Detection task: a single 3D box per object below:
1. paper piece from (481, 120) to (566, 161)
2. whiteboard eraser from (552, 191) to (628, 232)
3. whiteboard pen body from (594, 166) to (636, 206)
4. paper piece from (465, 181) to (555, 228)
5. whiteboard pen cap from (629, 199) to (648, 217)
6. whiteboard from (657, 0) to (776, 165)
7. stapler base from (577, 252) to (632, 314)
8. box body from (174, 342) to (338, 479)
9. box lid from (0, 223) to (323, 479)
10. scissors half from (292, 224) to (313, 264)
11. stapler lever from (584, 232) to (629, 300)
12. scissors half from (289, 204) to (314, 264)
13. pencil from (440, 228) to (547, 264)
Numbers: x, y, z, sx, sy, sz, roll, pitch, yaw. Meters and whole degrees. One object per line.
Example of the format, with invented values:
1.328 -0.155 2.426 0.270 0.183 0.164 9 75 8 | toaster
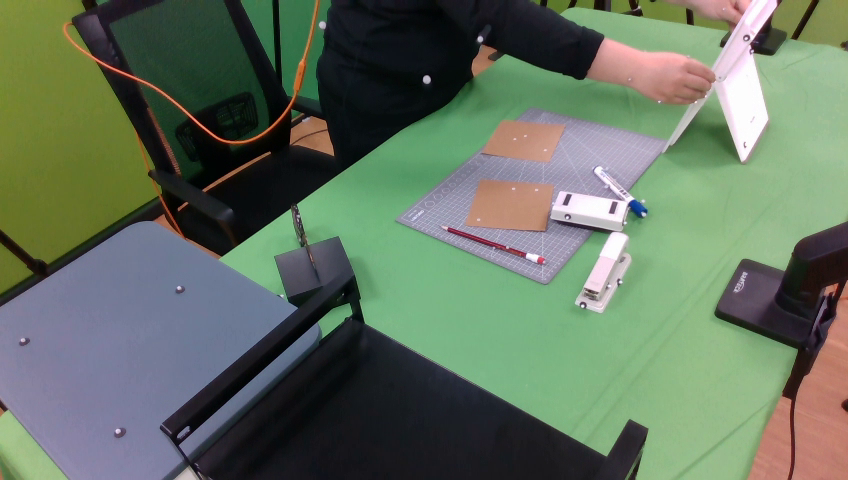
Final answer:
0.197 -0.199 1.188 0.135 0.004 0.135 11 43 21 | paper piece
0.266 -0.043 0.967 0.112 0.042 0.055 11 42 20 | whiteboard eraser
0.330 -0.086 1.027 0.017 0.017 0.139 -16 41 -10 | whiteboard pen body
0.149 -0.062 1.034 0.137 0.009 0.136 4 37 17 | paper piece
0.348 -0.052 0.983 0.018 0.018 0.033 -18 43 -12 | whiteboard pen cap
0.569 -0.276 1.041 0.143 0.306 0.218 35 53 17 | whiteboard
0.264 0.051 0.875 0.041 0.024 0.131 16 47 30 | stapler base
-0.311 0.165 0.720 0.361 0.161 0.255 23 48 32 | box body
-0.318 0.109 0.671 0.368 0.015 0.264 24 49 31 | box lid
-0.189 0.008 0.955 0.013 0.040 0.174 -18 21 -14 | scissors half
0.261 0.034 0.858 0.026 0.040 0.118 16 46 30 | stapler lever
-0.191 -0.010 0.945 0.013 0.040 0.173 -13 37 -17 | scissors half
0.105 0.007 0.957 0.192 0.012 0.012 18 46 30 | pencil
